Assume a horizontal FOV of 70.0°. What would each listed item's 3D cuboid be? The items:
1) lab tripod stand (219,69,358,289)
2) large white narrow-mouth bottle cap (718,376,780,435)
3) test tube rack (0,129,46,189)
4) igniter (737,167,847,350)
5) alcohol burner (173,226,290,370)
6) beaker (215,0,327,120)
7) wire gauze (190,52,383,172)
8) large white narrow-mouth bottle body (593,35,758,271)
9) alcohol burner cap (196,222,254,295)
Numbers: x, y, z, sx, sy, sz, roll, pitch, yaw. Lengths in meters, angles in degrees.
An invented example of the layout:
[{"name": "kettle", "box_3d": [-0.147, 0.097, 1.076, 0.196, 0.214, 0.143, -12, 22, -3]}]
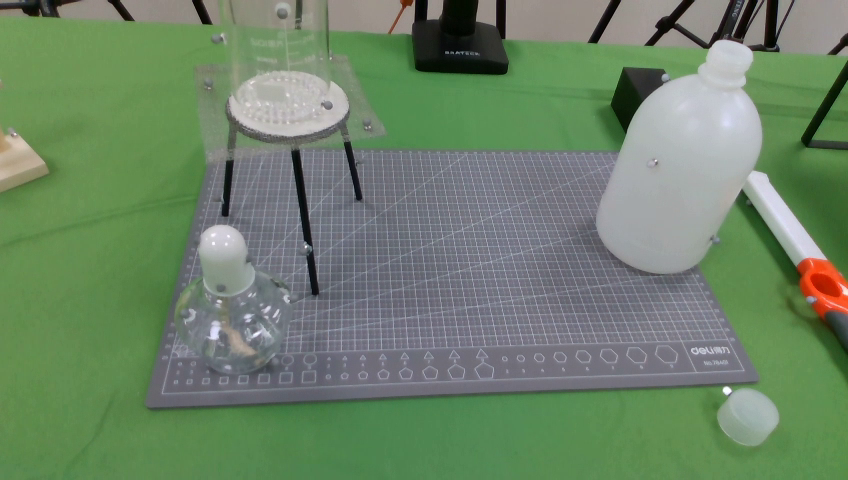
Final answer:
[{"name": "lab tripod stand", "box_3d": [-0.105, -0.055, 0.490, 0.148, 0.132, 0.147, 5, 45, -5]}, {"name": "large white narrow-mouth bottle cap", "box_3d": [0.235, 0.120, 0.439, 0.038, 0.024, 0.037, 3, 44, -3]}, {"name": "test tube rack", "box_3d": [-0.457, -0.056, 0.485, 0.066, 0.086, 0.242, 37, 52, 27]}, {"name": "igniter", "box_3d": [0.349, 0.026, 0.543, 0.057, 0.025, 0.273, 8, 43, -14]}, {"name": "alcohol burner", "box_3d": [-0.131, 0.034, 0.410, 0.078, 0.120, 0.077, 5, 43, -4]}, {"name": "beaker", "box_3d": [-0.104, -0.140, 0.412, 0.084, 0.101, 0.073, -5, 47, -12]}, {"name": "wire gauze", "box_3d": [-0.104, -0.103, 0.445, 0.122, 0.011, 0.123, -12, 51, -16]}, {"name": "large white narrow-mouth bottle body", "box_3d": [0.212, -0.071, 0.501, 0.102, 0.196, 0.101, 3, 45, -2]}, {"name": "alcohol burner cap", "box_3d": [-0.128, 0.010, 0.384, 0.034, 0.048, 0.033, 3, 50, -4]}]
